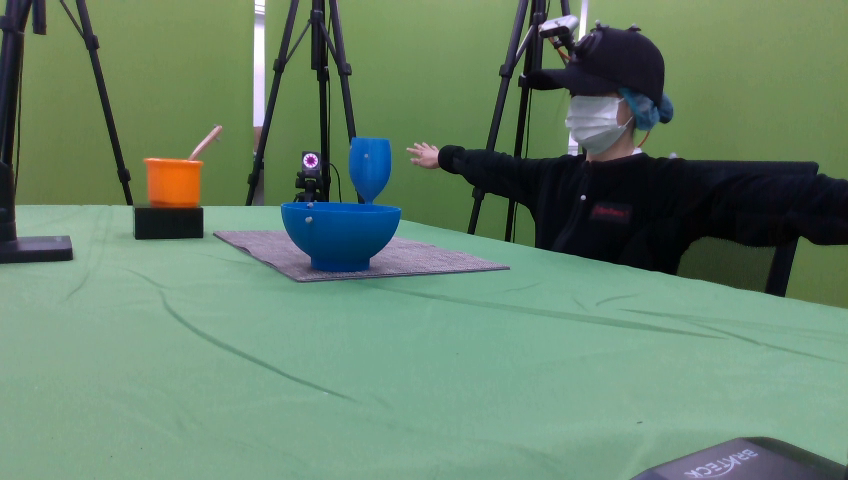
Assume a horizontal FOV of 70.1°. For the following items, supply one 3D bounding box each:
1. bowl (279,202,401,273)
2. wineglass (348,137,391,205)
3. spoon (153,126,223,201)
[{"bbox_3d":[-0.105,-0.003,0.756,0.151,0.077,0.151,3,7,0],"label":"bowl"},{"bbox_3d":[-0.092,-0.081,0.997,0.074,0.172,0.073,3,7,0],"label":"wineglass"},{"bbox_3d":[-0.394,-0.134,1.026,0.041,0.193,0.022,9,-36,20],"label":"spoon"}]
